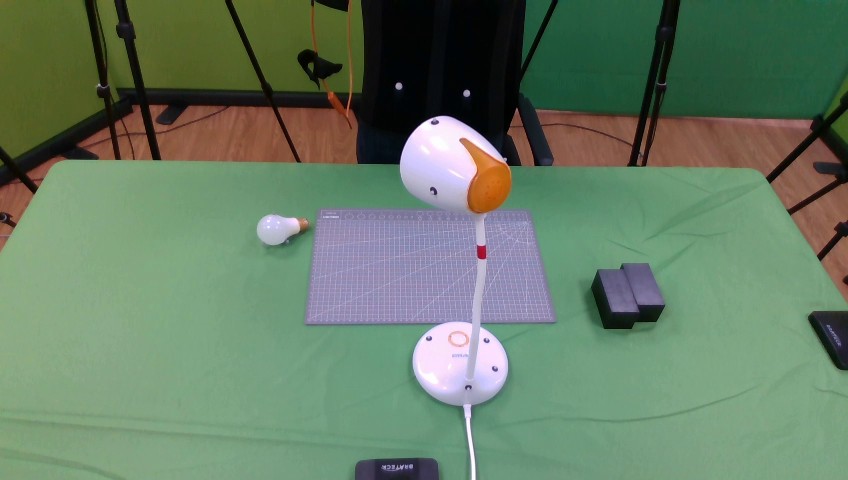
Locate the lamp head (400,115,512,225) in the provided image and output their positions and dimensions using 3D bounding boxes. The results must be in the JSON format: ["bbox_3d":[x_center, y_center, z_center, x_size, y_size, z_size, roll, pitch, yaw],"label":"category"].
[{"bbox_3d":[0.047,-0.077,0.729,0.112,0.113,0.122,-25,43,-25],"label":"lamp head"}]

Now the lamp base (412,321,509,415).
[{"bbox_3d":[0.067,0.158,0.943,0.161,0.181,0.178,-6,50,-10],"label":"lamp base"}]

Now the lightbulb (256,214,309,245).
[{"bbox_3d":[-0.275,-0.025,1.184,0.108,0.060,0.059,-14,46,-38],"label":"lightbulb"}]
